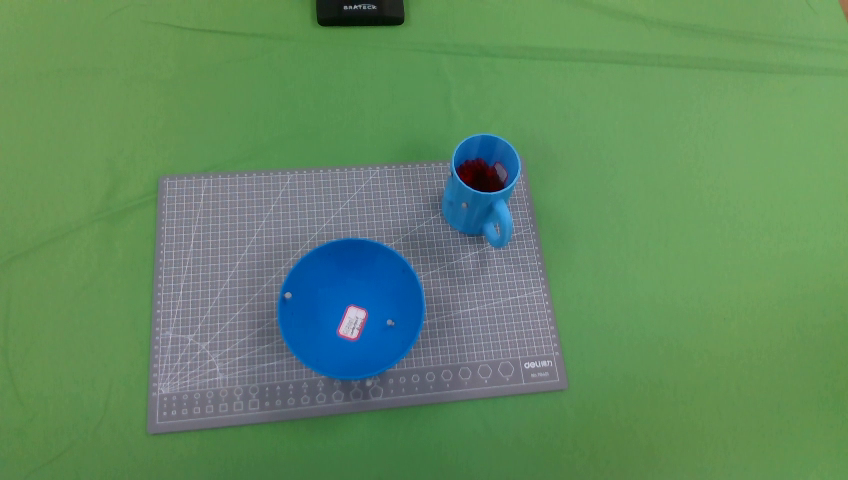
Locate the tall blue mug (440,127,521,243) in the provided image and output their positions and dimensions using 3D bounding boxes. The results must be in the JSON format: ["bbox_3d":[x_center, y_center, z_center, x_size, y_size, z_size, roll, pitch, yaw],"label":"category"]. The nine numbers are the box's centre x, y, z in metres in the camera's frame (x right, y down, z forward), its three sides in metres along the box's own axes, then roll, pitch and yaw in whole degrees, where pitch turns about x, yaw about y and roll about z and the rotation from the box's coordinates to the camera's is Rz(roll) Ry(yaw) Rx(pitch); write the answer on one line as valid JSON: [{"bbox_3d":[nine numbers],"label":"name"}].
[{"bbox_3d":[0.073,-0.059,0.697,0.107,0.108,0.077,40,69,10],"label":"tall blue mug"}]

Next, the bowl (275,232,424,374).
[{"bbox_3d":[-0.077,0.074,0.649,0.151,0.077,0.150,2,69,-5],"label":"bowl"}]
